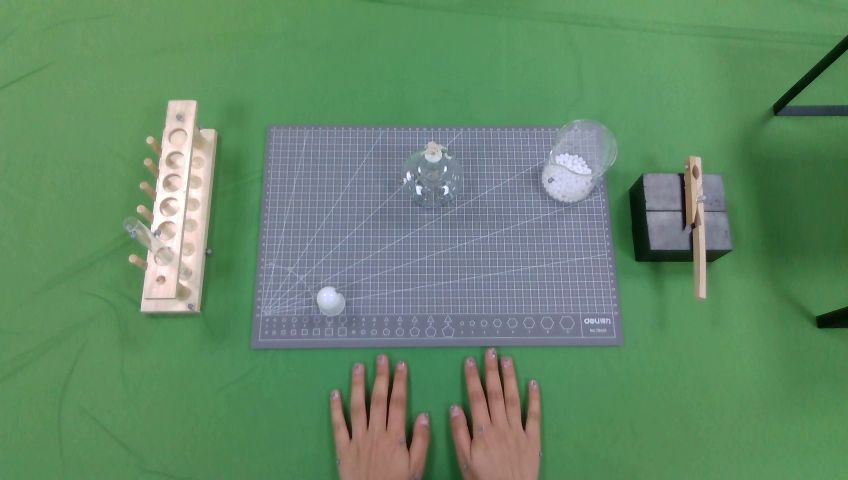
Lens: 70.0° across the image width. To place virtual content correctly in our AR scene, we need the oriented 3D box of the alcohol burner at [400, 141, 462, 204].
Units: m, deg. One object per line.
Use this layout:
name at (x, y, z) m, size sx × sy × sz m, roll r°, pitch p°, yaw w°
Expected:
alcohol burner at (0.009, -0.089, 0.735) m, size 0.078 × 0.120 × 0.077 m, roll 0°, pitch 73°, yaw 0°

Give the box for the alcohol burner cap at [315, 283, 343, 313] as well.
alcohol burner cap at (-0.115, 0.067, 0.721) m, size 0.034 × 0.048 × 0.033 m, roll 1°, pitch 73°, yaw -3°

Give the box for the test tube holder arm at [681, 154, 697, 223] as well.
test tube holder arm at (0.325, -0.063, 0.742) m, size 0.010 × 0.015 × 0.087 m, roll 2°, pitch 74°, yaw 0°

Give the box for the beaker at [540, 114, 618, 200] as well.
beaker at (0.184, -0.097, 0.752) m, size 0.084 × 0.101 × 0.073 m, roll -22°, pitch 74°, yaw -7°

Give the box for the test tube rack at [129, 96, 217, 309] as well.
test tube rack at (-0.305, -0.044, 0.728) m, size 0.067 × 0.085 × 0.241 m, roll 0°, pitch 73°, yaw -2°

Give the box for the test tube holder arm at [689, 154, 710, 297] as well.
test tube holder arm at (0.330, -0.019, 0.730) m, size 0.013 × 0.015 × 0.177 m, roll 0°, pitch 74°, yaw 0°

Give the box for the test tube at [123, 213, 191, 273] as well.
test tube at (-0.287, 0.007, 0.661) m, size 0.017 × 0.151 × 0.017 m, roll 0°, pitch 69°, yaw 0°
